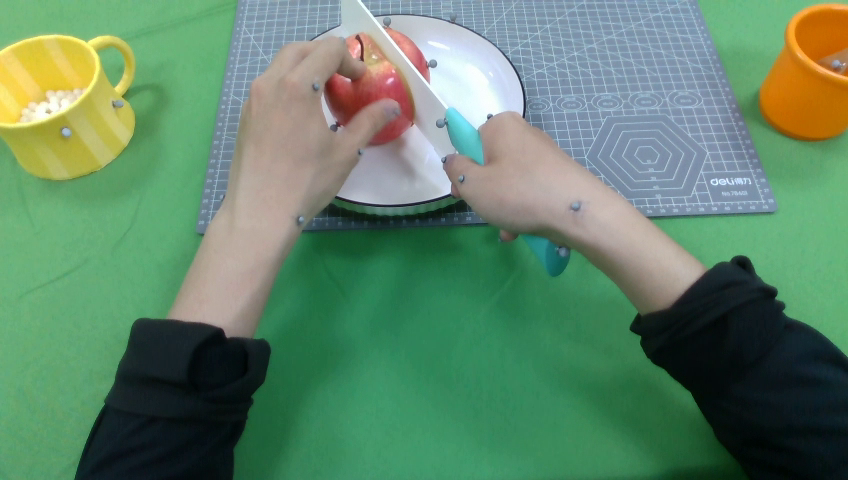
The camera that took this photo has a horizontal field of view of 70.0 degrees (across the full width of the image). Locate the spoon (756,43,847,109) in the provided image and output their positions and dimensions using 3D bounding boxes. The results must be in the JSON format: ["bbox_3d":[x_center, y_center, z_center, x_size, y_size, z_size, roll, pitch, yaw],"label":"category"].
[{"bbox_3d":[0.358,-0.162,0.468,0.022,0.194,0.041,23,47,-38],"label":"spoon"}]

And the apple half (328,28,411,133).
[{"bbox_3d":[-0.042,-0.116,0.473,0.080,0.075,0.053,38,80,25],"label":"apple half"}]

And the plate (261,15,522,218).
[{"bbox_3d":[-0.026,-0.102,0.498,0.209,0.038,0.207,0,60,0],"label":"plate"}]

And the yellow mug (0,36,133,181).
[{"bbox_3d":[-0.293,-0.118,0.498,0.099,0.064,0.130,29,63,16],"label":"yellow mug"}]

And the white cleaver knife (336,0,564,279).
[{"bbox_3d":[0.008,-0.085,0.442,0.021,0.066,0.284,-28,67,-16],"label":"white cleaver knife"}]

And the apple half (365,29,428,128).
[{"bbox_3d":[-0.017,-0.132,0.485,0.033,0.082,0.080,-31,64,-18],"label":"apple half"}]
